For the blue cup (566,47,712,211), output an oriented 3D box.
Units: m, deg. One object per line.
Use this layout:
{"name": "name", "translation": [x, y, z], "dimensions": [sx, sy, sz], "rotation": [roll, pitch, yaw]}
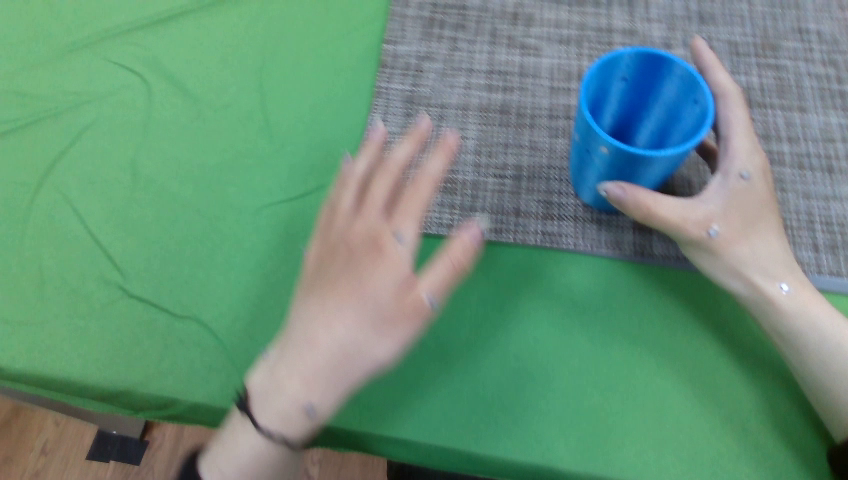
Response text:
{"name": "blue cup", "translation": [0.142, -0.069, 0.432], "dimensions": [0.092, 0.101, 0.092], "rotation": [0, 66, 1]}
